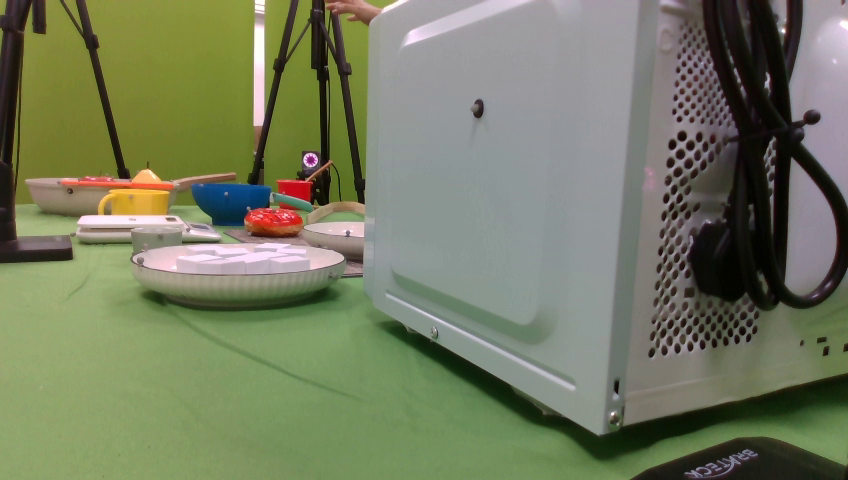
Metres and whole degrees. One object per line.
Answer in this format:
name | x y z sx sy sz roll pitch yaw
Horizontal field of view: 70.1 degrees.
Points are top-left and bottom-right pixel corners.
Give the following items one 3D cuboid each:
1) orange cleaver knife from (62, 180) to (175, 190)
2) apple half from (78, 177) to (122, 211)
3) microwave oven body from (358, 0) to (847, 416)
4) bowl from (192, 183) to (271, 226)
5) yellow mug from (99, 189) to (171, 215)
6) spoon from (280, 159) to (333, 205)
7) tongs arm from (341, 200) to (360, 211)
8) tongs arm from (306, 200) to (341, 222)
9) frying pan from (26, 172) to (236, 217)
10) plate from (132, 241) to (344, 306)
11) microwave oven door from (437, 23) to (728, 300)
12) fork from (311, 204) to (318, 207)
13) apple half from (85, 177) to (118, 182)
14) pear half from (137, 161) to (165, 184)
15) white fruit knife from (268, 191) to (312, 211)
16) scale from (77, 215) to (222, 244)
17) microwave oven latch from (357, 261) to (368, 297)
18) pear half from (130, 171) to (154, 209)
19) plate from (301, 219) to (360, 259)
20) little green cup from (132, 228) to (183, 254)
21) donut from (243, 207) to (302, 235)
orange cleaver knife | -0.600 -0.110 1.193 0.212 0.012 0.077 1 8 -13
apple half | -0.698 -0.099 1.298 0.081 0.074 0.053 -9 9 -40
microwave oven body | 0.211 -0.047 0.475 0.444 0.260 0.324 -1 7 -28
bowl | -0.382 -0.071 1.202 0.151 0.077 0.151 3 7 0
yellow mug | -0.518 -0.055 1.080 0.099 0.064 0.131 7 9 26
spoon | -0.316 -0.159 1.640 0.194 0.022 0.041 -50 31 -20
tongs arm | -0.148 -0.070 1.429 0.051 0.026 0.383 -3 8 -14
tongs arm | -0.233 -0.070 1.414 0.028 0.028 0.387 -4 7 1
frying pan | -0.624 -0.118 1.387 0.305 0.102 0.490 8 17 32
plate | -0.187 0.033 0.625 0.208 0.039 0.207 2 8 0
microwave oven door | 0.181 -0.072 0.621 0.358 0.243 0.039 -2 8 -29
fork | -0.356 -0.105 1.526 0.208 0.018 0.028 16 -6 -41
apple half | -0.673 -0.096 1.269 0.082 0.081 0.032 -4 6 -40
pear half | -0.604 -0.120 1.354 0.056 0.110 0.076 4 11 7
white fruit knife | -0.364 -0.105 1.464 0.208 0.027 0.016 15 0 -34
scale | -0.434 -0.019 0.963 0.202 0.031 0.148 -1 9 -27
microwave oven latch | -0.019 0.033 0.531 0.079 0.029 0.030 -1 7 -27
pear half | -0.640 -0.113 1.361 0.031 0.088 0.070 5 10 5
plate | -0.077 -0.002 0.893 0.209 0.038 0.209 3 8 0
little green cup | -0.342 0.006 0.779 0.061 0.038 0.061 2 8 0
donut | -0.261 -0.032 1.043 0.099 0.048 0.099 4 9 0
